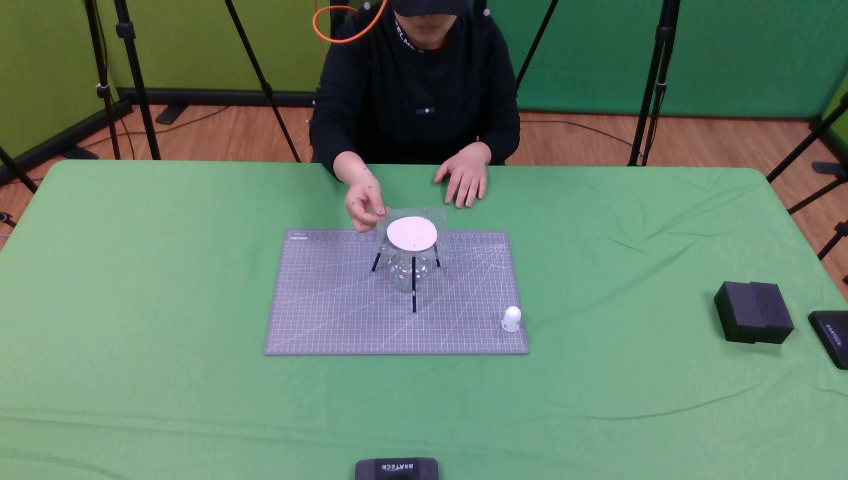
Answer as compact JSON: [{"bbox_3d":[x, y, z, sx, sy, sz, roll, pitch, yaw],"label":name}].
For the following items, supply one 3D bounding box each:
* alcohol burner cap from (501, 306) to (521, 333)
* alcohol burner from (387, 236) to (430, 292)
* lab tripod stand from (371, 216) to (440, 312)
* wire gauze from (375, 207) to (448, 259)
[{"bbox_3d":[0.155,0.137,1.061,0.034,0.048,0.033,2,45,-1],"label":"alcohol burner cap"},{"bbox_3d":[-0.028,0.038,1.093,0.078,0.120,0.077,1,46,-1],"label":"alcohol burner"},{"bbox_3d":[-0.029,0.033,1.084,0.148,0.132,0.147,1,47,-1],"label":"lab tripod stand"},{"bbox_3d":[-0.022,-0.015,1.036,0.125,0.011,0.120,2,44,-3],"label":"wire gauze"}]
